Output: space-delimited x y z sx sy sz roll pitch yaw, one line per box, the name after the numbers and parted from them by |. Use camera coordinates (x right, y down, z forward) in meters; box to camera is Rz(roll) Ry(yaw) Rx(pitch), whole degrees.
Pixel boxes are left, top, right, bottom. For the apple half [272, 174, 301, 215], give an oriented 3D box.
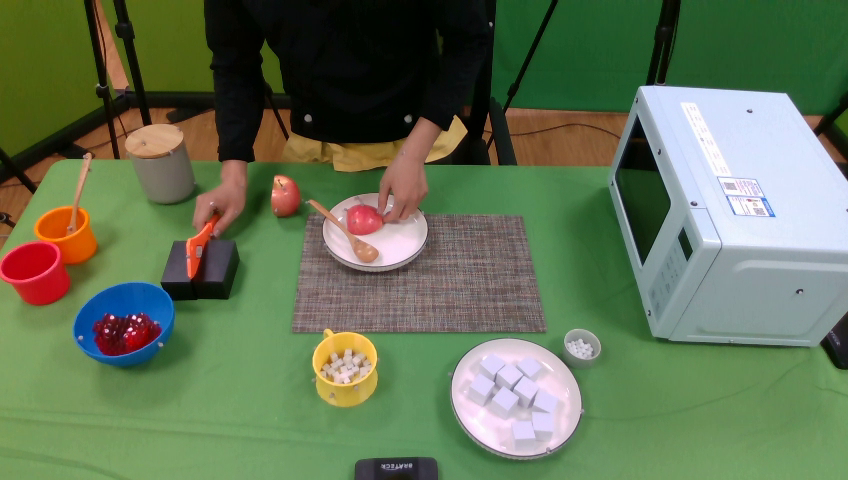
-0.276 -0.090 1.226 0.053 0.075 0.080 1 42 -7 | apple half

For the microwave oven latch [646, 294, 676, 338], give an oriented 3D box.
0.412 0.133 1.061 0.030 0.029 0.078 3 46 1 | microwave oven latch

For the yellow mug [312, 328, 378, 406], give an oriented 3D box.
-0.132 0.193 0.971 0.100 0.064 0.130 -22 51 -22 | yellow mug

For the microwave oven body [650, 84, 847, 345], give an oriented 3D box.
0.569 -0.054 1.116 0.326 0.261 0.439 2 46 -1 | microwave oven body

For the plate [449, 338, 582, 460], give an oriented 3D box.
0.141 0.251 0.956 0.208 0.039 0.206 2 46 -2 | plate

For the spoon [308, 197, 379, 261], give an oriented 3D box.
-0.159 -0.025 1.172 0.041 0.022 0.193 -40 73 -20 | spoon

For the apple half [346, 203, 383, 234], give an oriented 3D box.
-0.120 -0.051 1.205 0.081 0.033 0.081 -2 52 2 | apple half

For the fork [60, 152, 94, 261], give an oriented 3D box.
-0.637 -0.063 1.119 0.028 0.019 0.207 11 90 16 | fork

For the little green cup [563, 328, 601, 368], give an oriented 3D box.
0.265 0.185 1.025 0.061 0.039 0.061 1 45 -1 | little green cup

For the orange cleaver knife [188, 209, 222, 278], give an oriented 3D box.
-0.403 0.002 1.122 0.012 0.077 0.210 0 23 -3 | orange cleaver knife

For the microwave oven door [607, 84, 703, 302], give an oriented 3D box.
0.424 -0.096 1.138 0.039 0.245 0.353 3 46 -1 | microwave oven door

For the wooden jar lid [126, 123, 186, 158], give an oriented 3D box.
-0.519 -0.190 1.179 0.108 0.021 0.107 2 44 -2 | wooden jar lid

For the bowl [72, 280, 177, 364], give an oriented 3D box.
-0.473 0.147 0.982 0.151 0.077 0.150 2 46 -2 | bowl

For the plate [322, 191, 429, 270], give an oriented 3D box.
-0.093 -0.015 1.185 0.209 0.038 0.208 2 46 -2 | plate

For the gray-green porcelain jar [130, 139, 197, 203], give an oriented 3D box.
-0.522 -0.148 1.224 0.106 0.127 0.105 2 47 -2 | gray-green porcelain jar
